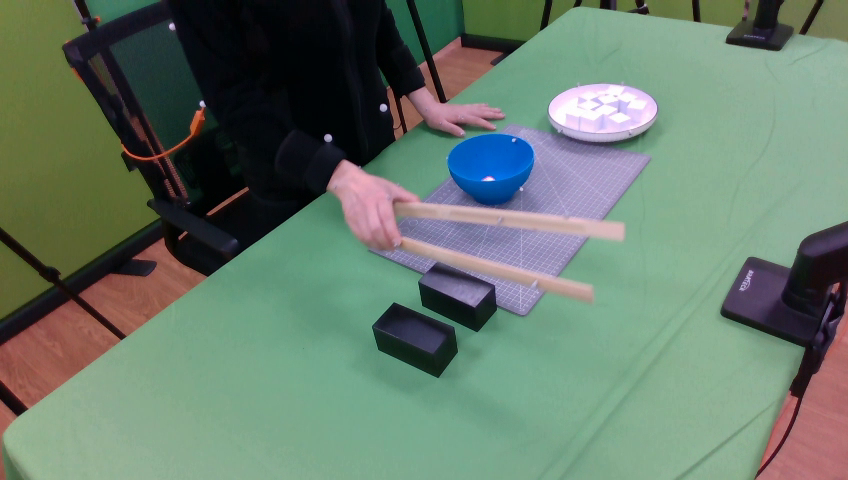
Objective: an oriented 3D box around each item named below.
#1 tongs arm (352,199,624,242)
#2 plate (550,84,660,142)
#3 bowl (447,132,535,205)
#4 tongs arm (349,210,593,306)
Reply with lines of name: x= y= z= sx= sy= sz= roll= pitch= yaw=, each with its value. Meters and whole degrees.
tongs arm: x=0.074 y=-0.023 z=0.832 sx=0.382 sy=0.026 sz=0.051 roll=9 pitch=43 yaw=27
plate: x=0.355 y=-0.247 z=1.195 sx=0.207 sy=0.039 sz=0.206 roll=-5 pitch=39 yaw=5
bowl: x=0.119 y=-0.115 z=1.051 sx=0.151 sy=0.077 sz=0.150 roll=-6 pitch=40 yaw=5
tongs arm: x=0.039 y=0.018 z=0.786 sx=0.384 sy=0.028 sz=0.028 roll=17 pitch=50 yaw=35
